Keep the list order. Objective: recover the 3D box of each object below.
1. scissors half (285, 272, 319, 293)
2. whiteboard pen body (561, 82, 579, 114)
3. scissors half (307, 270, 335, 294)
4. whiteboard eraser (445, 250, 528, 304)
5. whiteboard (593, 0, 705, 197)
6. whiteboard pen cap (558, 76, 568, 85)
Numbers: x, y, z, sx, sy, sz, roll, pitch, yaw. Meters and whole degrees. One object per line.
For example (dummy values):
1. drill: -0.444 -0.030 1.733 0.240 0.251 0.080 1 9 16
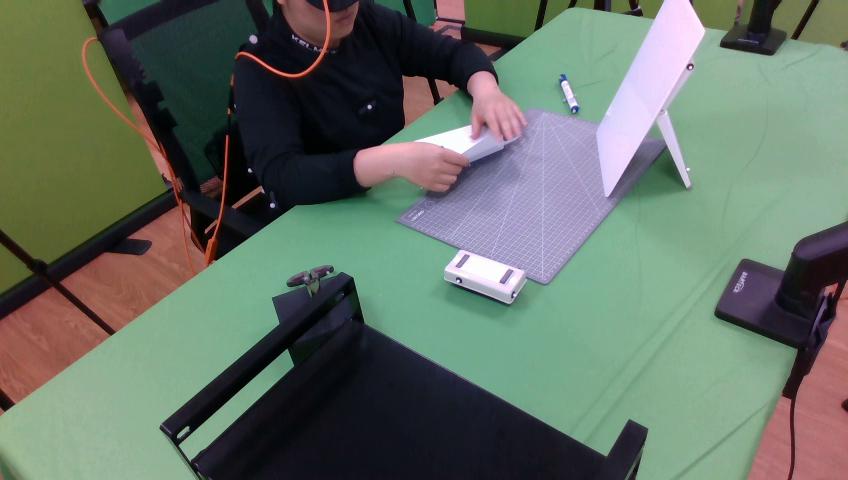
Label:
1. scissors half: -0.171 0.063 0.868 0.040 0.013 0.174 -13 8 -21
2. whiteboard pen body: 0.310 -0.311 1.297 0.017 0.017 0.140 -6 41 2
3. scissors half: -0.152 0.061 0.872 0.040 0.013 0.175 -5 6 -4
4. whiteboard eraser: 0.090 0.056 0.882 0.112 0.042 0.056 17 44 27
5. whiteboard: 0.421 -0.227 1.009 0.144 0.305 0.216 17 41 -3
6. whiteboard pen cap: 0.310 -0.350 1.340 0.018 0.018 0.033 -6 41 2
